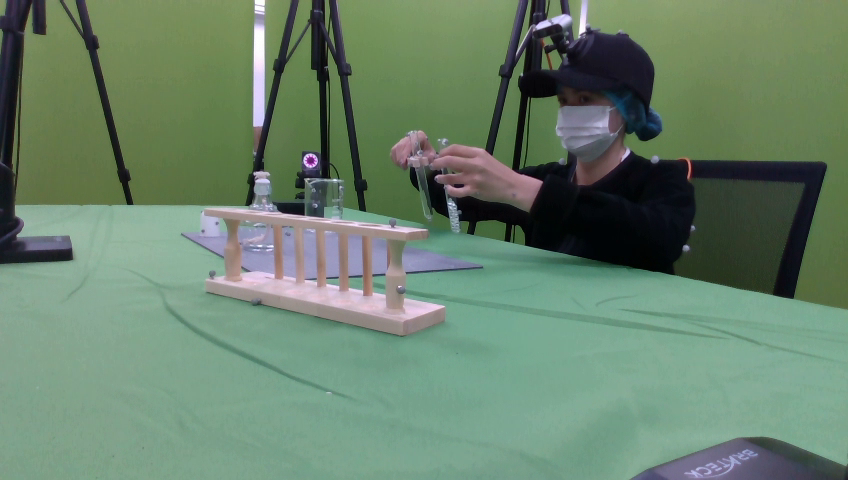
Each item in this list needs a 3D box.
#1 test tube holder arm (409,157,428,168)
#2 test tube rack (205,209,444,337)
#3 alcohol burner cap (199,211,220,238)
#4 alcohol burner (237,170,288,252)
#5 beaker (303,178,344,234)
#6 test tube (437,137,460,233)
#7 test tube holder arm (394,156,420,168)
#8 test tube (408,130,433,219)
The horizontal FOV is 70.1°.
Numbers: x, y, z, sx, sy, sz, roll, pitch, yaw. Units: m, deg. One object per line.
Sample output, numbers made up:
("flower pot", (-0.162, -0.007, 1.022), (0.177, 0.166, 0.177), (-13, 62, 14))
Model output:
("test tube holder arm", (-0.013, -0.133, 1.035), (0.010, 0.015, 0.087), (-3, 11, -22))
("test tube rack", (-0.100, 0.021, 0.565), (0.241, 0.085, 0.067), (7, 8, 32))
("alcohol burner cap", (-0.356, -0.027, 1.002), (0.034, 0.048, 0.034), (2, 7, 0))
("alcohol burner", (-0.236, -0.042, 0.882), (0.078, 0.119, 0.078), (2, 9, 0))
("beaker", (-0.189, -0.063, 1.119), (0.073, 0.100, 0.084), (6, 9, 28))
("test tube", (0.038, -0.083, 0.934), (0.017, 0.150, 0.017), (-9, 11, 2))
("test tube holder arm", (-0.032, -0.140, 1.075), (0.013, 0.015, 0.178), (-1, 10, -16))
("test tube", (-0.006, -0.109, 1.012), (0.017, 0.150, 0.017), (-11, 3, 1))
